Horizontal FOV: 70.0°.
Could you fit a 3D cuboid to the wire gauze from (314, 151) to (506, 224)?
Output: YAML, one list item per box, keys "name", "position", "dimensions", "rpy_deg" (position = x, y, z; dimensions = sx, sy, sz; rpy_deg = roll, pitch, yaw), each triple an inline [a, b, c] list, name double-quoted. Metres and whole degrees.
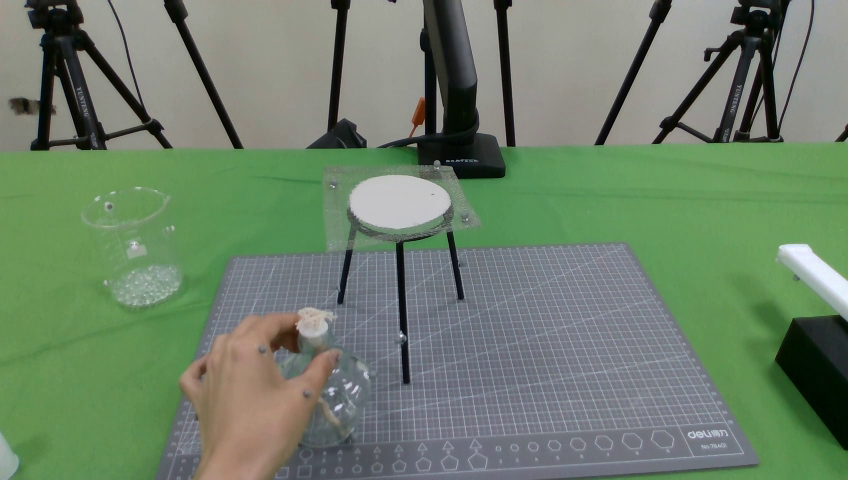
- name: "wire gauze"
  position: [-0.014, -0.044, 0.495]
  dimensions: [0.125, 0.011, 0.120]
  rpy_deg: [-11, 31, -28]

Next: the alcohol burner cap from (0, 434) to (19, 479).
- name: "alcohol burner cap"
  position: [-0.317, 0.153, 0.434]
  dimensions: [0.034, 0.048, 0.033]
  rpy_deg: [2, 32, -1]

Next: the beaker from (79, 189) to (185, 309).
- name: "beaker"
  position: [-0.279, 0.009, 0.596]
  dimensions: [0.084, 0.101, 0.073]
  rpy_deg: [-28, 44, -36]

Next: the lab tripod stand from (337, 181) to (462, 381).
- name: "lab tripod stand"
  position: [-0.019, 0.028, 0.539]
  dimensions: [0.148, 0.132, 0.147]
  rpy_deg: [2, 35, -1]

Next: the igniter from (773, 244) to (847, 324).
- name: "igniter"
  position: [0.374, 0.081, 0.485]
  dimensions: [0.057, 0.025, 0.274]
  rpy_deg: [-2, 31, -5]

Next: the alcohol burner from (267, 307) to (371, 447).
- name: "alcohol burner"
  position: [-0.079, 0.097, 0.453]
  dimensions: [0.078, 0.120, 0.077]
  rpy_deg: [3, 33, -1]
